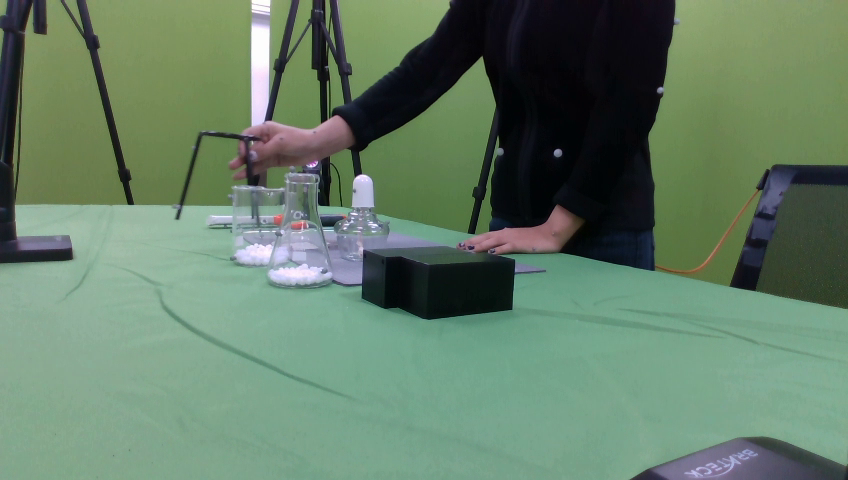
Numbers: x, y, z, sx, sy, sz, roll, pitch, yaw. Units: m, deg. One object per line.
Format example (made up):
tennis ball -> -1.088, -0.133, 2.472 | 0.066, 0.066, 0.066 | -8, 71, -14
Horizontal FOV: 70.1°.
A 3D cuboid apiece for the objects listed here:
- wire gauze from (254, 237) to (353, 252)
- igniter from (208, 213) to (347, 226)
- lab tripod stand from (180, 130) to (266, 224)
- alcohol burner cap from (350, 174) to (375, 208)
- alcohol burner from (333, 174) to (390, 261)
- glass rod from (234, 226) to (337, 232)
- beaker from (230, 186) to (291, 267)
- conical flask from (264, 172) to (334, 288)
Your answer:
wire gauze -> -0.188, 0.004, 0.940 | 0.122, 0.011, 0.124 | -2, 6, -34
igniter -> -0.282, -0.040, 1.200 | 0.278, 0.025, 0.057 | -2, -2, -35
lab tripod stand -> -0.280, -0.094, 0.900 | 0.148, 0.131, 0.148 | 6, 6, 0
alcohol burner cap -> -0.085, -0.067, 0.829 | 0.034, 0.048, 0.034 | 0, 2, 0
alcohol burner -> -0.085, -0.031, 0.832 | 0.078, 0.119, 0.078 | 3, 6, 0
glass rod -> -0.255, -0.022, 1.136 | 0.201, 0.008, 0.008 | -3, 8, -33
beaker -> -0.209, -0.019, 0.778 | 0.074, 0.100, 0.084 | 3, 7, 4
conical flask -> -0.136, -0.013, 0.660 | 0.075, 0.122, 0.075 | 2, 7, 0
